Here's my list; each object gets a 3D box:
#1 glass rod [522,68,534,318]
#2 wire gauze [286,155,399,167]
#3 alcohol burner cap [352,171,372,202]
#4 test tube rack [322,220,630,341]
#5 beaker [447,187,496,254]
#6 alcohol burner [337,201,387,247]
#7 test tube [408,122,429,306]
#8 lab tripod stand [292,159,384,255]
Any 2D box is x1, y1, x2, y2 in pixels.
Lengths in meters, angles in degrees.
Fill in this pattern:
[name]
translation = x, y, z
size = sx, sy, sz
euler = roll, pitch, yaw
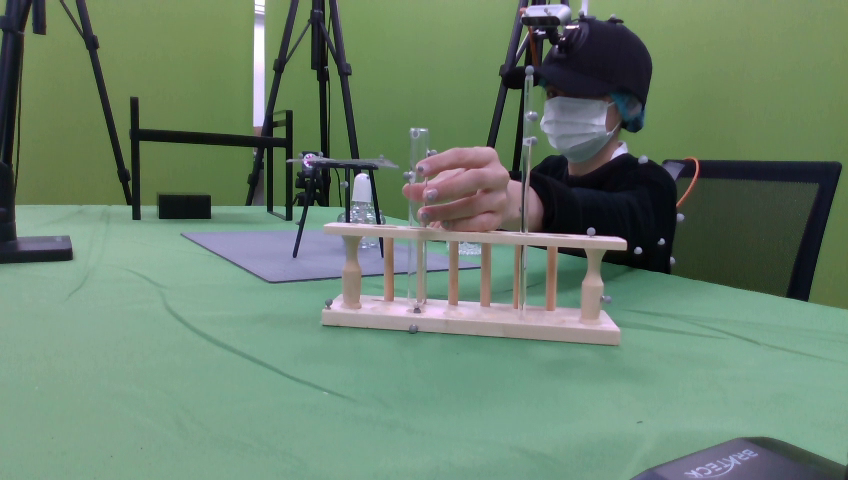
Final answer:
[glass rod]
translation = 0.082, -0.031, 0.474
size = 0.008, 0.199, 0.008
euler = -2, 15, 1
[wire gauze]
translation = -0.101, -0.105, 0.788
size = 0.121, 0.011, 0.125
euler = 4, 6, 6
[alcohol burner cap]
translation = -0.096, -0.084, 0.951
size = 0.034, 0.048, 0.034
euler = 5, 5, 0
[test tube rack]
translation = 0.041, 0.029, 0.512
size = 0.242, 0.085, 0.067
euler = 3, 7, 5
[beaker]
translation = 0.076, -0.031, 0.949
size = 0.074, 0.100, 0.083
euler = -6, 11, -42
[alcohol burner]
translation = -0.098, -0.049, 0.954
size = 0.078, 0.119, 0.078
euler = 0, 7, 0
[test tube]
translation = -0.005, -0.020, 0.489
size = 0.017, 0.150, 0.017
euler = 1, 11, 0
[lab tripod stand]
translation = -0.105, -0.039, 0.797
size = 0.148, 0.131, 0.148
euler = 2, 5, 0
